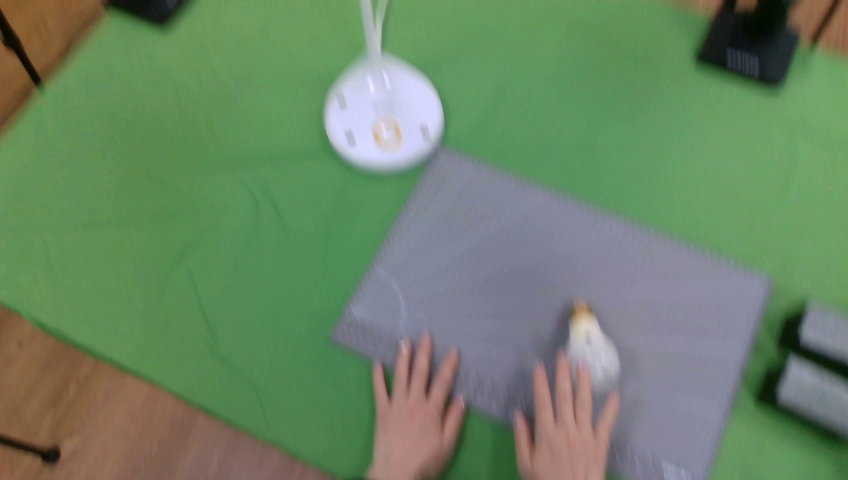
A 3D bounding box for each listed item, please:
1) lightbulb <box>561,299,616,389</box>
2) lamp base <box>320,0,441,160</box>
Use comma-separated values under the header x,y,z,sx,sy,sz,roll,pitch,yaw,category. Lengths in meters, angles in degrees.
x,y,z,sx,sy,sz,roll,pitch,yaw,category
0.182,0.115,0.684,0.059,0.060,0.106,-2,55,1,lightbulb
-0.064,-0.215,0.738,0.161,0.181,0.177,-16,68,-4,lamp base
